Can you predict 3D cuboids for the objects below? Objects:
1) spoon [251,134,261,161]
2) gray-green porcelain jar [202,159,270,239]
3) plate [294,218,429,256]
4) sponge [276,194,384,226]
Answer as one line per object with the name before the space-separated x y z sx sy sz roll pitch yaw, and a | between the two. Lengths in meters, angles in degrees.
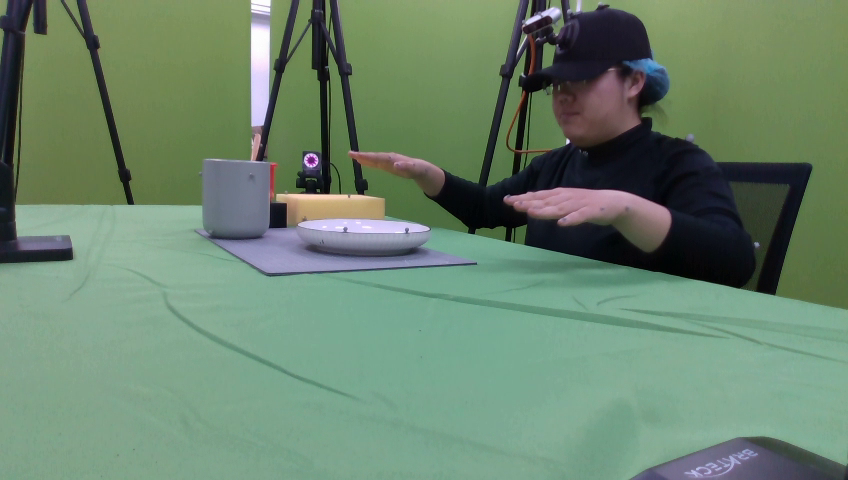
spoon | -0.341 -0.152 1.206 0.042 0.021 0.193 3 51 -7
gray-green porcelain jar | -0.310 -0.068 0.999 0.106 0.126 0.106 3 8 0
plate | -0.096 -0.005 0.936 0.208 0.039 0.207 3 7 0
sponge | -0.202 -0.067 1.312 0.208 0.061 0.117 -3 9 -35
